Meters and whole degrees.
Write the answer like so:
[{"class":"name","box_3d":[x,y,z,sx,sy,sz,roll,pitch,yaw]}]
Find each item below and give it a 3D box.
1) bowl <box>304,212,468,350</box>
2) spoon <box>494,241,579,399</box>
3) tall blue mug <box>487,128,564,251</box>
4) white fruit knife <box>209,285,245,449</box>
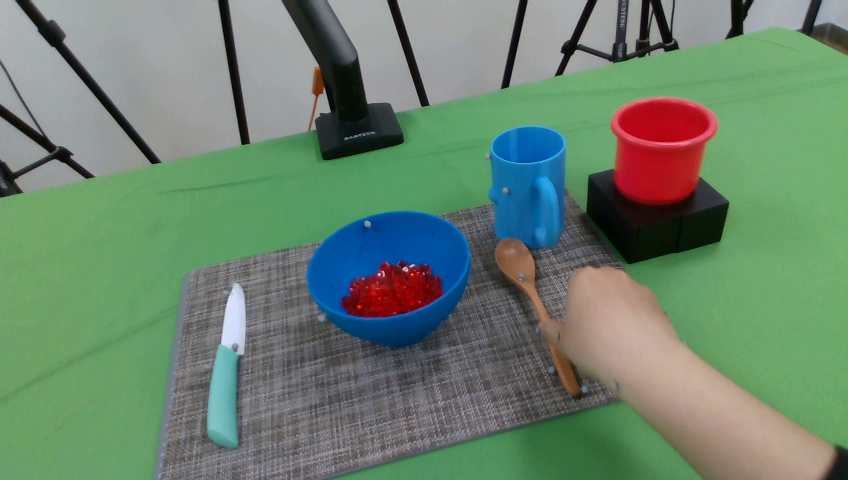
[{"class":"bowl","box_3d":[-0.030,0.049,0.570,0.151,0.077,0.150,-5,39,5]},{"class":"spoon","box_3d":[0.105,0.067,0.568,0.042,0.022,0.191,1,37,-14]},{"class":"tall blue mug","box_3d":[0.118,-0.046,0.634,0.078,0.109,0.106,-31,44,-26]},{"class":"white fruit knife","box_3d":[-0.186,0.110,0.578,0.027,0.016,0.205,12,32,-22]}]
